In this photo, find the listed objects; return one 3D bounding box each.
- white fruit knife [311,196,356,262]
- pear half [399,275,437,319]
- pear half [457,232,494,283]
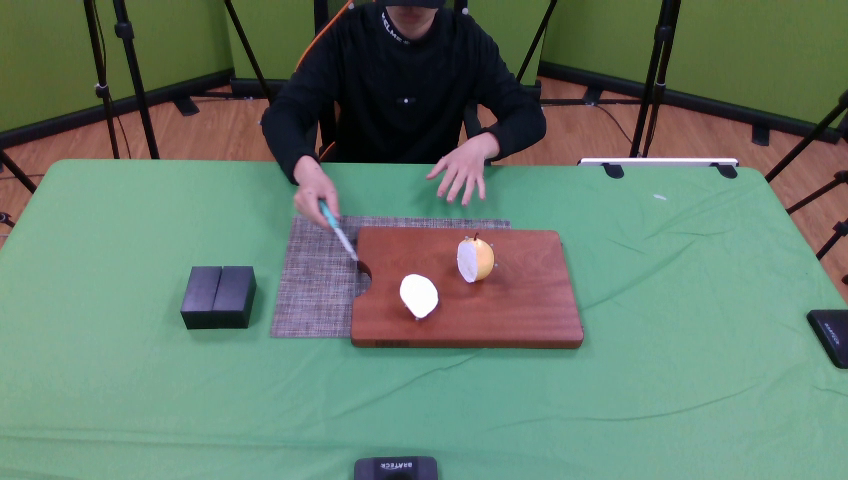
[{"bbox_3d":[-0.166,-0.023,1.109,0.016,0.027,0.206,-47,48,8],"label":"white fruit knife"},{"bbox_3d":[-0.014,0.103,1.052,0.070,0.031,0.087,12,54,-13],"label":"pear half"},{"bbox_3d":[0.098,0.023,1.087,0.056,0.110,0.076,-22,55,-24],"label":"pear half"}]
